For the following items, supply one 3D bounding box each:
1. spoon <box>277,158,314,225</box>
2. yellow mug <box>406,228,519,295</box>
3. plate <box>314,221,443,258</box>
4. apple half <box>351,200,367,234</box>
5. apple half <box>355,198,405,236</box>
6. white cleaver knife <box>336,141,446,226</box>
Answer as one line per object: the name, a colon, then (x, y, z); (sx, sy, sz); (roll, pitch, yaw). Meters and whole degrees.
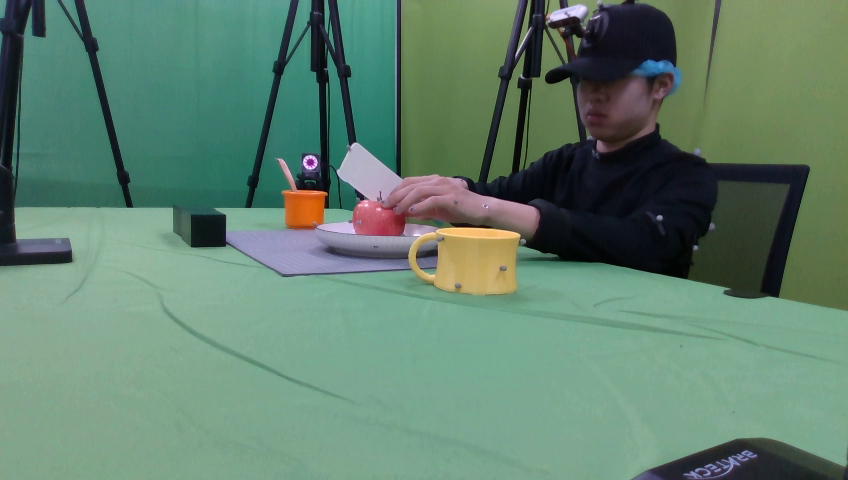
spoon: (-0.272, -0.103, 1.260); (0.042, 0.193, 0.021); (-5, -34, -33)
yellow mug: (0.044, 0.022, 0.706); (0.131, 0.064, 0.100); (2, 7, 5)
plate: (-0.066, -0.001, 0.948); (0.209, 0.038, 0.209); (3, 7, 0)
apple half: (-0.091, -0.028, 0.931); (0.032, 0.081, 0.082); (11, 11, 33)
apple half: (-0.058, -0.024, 0.910); (0.053, 0.074, 0.081); (14, 11, 33)
white cleaver knife: (-0.046, -0.072, 0.958); (0.021, 0.066, 0.288); (18, -8, 36)
